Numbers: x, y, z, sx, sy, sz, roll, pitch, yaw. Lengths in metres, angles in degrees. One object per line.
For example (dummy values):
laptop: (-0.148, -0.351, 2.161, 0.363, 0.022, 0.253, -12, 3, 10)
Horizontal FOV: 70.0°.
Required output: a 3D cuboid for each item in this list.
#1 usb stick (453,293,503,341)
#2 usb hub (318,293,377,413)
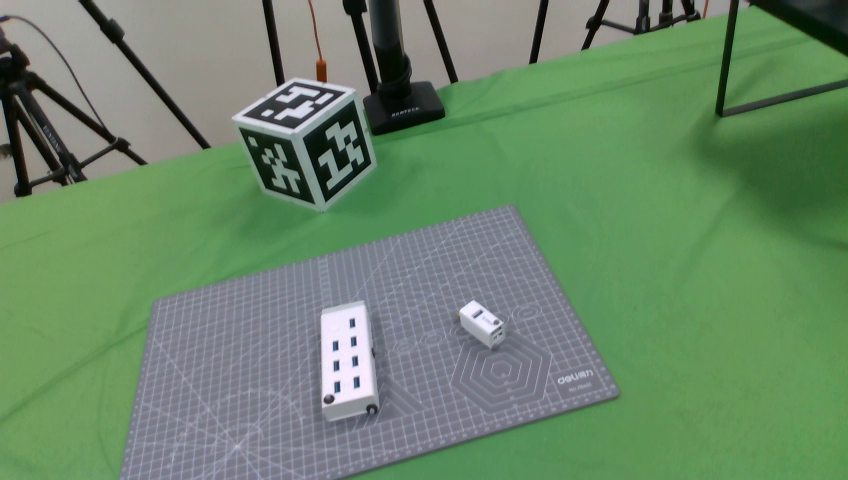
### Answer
usb stick: (0.050, 0.072, 0.600, 0.021, 0.027, 0.058, -35, 42, -22)
usb hub: (-0.078, 0.107, 0.594, 0.049, 0.025, 0.124, -14, 40, 0)
